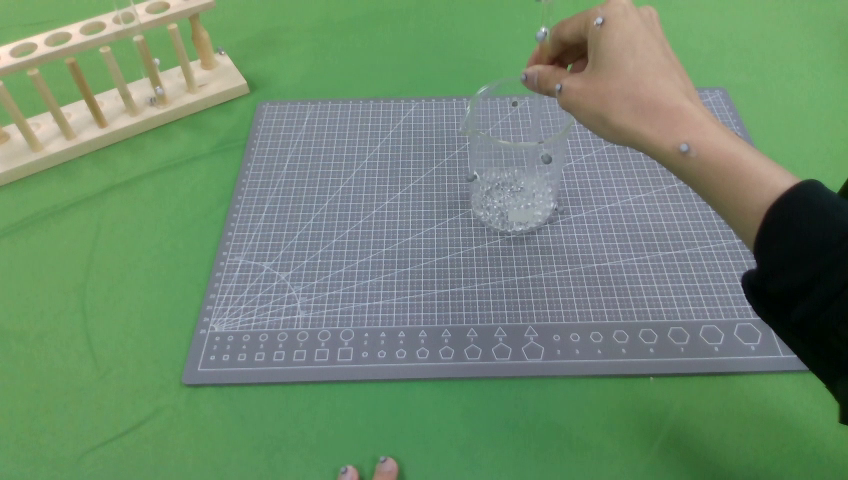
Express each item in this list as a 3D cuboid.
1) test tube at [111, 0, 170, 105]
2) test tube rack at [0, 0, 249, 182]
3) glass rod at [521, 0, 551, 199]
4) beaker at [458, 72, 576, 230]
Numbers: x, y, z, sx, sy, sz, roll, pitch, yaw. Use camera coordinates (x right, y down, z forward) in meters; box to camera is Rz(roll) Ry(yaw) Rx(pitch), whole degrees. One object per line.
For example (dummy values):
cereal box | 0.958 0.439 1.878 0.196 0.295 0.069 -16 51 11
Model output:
test tube | -0.249 -0.181 0.519 0.017 0.151 0.017 0 49 1
test tube rack | -0.295 -0.146 0.550 0.242 0.086 0.066 -26 55 -18
glass rod | 0.076 -0.099 0.416 0.008 0.201 0.008 -2 50 2
beaker | 0.066 -0.062 0.456 0.084 0.101 0.073 -15 52 -9
